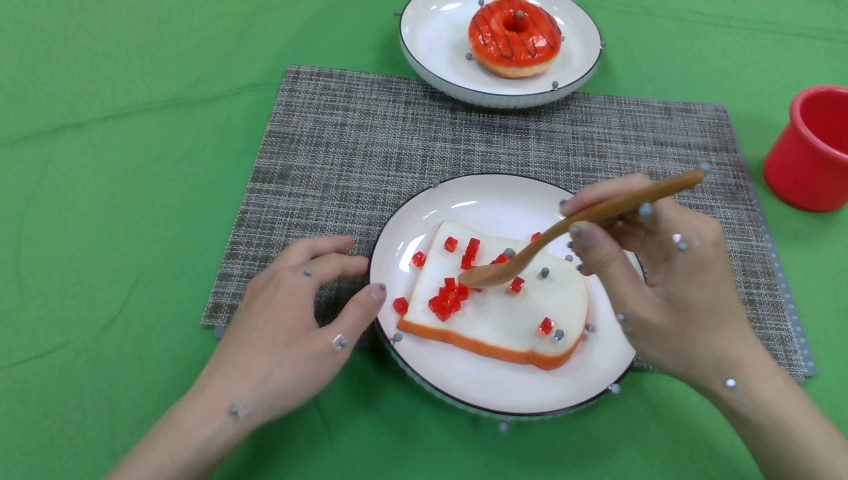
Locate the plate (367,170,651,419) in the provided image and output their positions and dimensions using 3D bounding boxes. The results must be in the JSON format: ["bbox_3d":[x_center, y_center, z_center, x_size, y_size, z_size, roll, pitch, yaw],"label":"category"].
[{"bbox_3d":[0.062,0.036,0.458,0.209,0.038,0.207,2,55,-2],"label":"plate"}]

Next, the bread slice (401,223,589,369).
[{"bbox_3d":[0.059,0.040,0.459,0.131,0.019,0.104,14,55,9],"label":"bread slice"}]

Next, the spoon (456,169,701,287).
[{"bbox_3d":[0.079,-0.002,0.363,0.042,0.194,0.021,-19,80,-35],"label":"spoon"}]

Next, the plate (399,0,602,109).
[{"bbox_3d":[0.077,-0.202,0.630,0.208,0.039,0.205,2,53,-3],"label":"plate"}]

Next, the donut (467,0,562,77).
[{"bbox_3d":[0.092,-0.207,0.620,0.099,0.048,0.098,3,55,-3],"label":"donut"}]
